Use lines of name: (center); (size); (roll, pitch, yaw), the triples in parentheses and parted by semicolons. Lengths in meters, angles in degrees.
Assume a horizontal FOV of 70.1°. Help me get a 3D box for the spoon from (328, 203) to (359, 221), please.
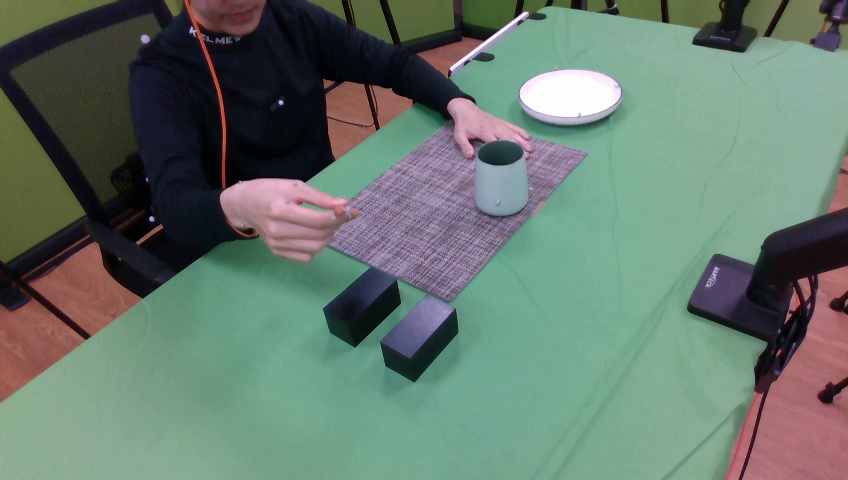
spoon: (-0.103, -0.037, 0.743); (0.042, 0.021, 0.193); (-8, 0, -4)

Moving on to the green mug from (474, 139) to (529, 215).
green mug: (0.126, -0.113, 1.013); (0.092, 0.105, 0.124); (-8, 41, 0)

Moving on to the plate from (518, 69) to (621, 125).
plate: (0.300, -0.293, 1.253); (0.209, 0.038, 0.208); (-4, 41, 4)
